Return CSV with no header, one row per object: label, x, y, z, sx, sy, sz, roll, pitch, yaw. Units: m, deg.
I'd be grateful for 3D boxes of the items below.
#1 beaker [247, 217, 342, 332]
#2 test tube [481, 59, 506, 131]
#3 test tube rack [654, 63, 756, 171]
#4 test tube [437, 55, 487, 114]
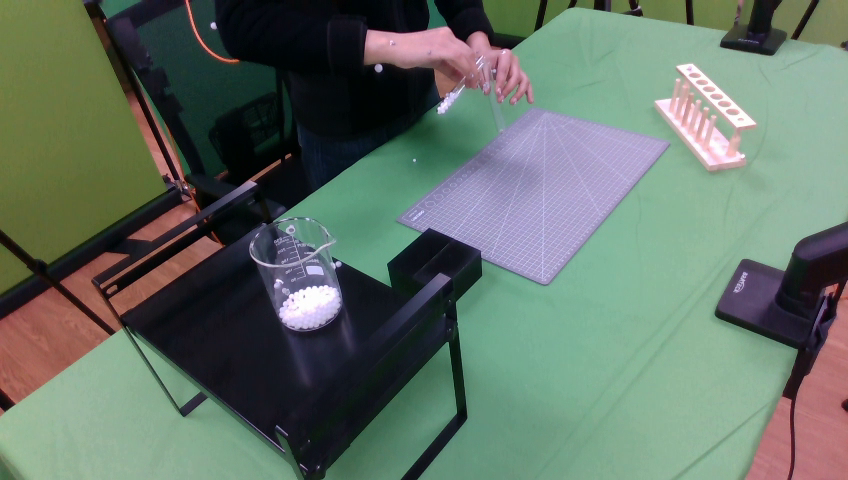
beaker,-0.124,0.037,0.614,0.084,0.101,0.073,-7,41,0
test tube,0.121,-0.247,1.046,0.017,0.151,0.017,-11,48,12
test tube rack,0.510,-0.233,1.120,0.067,0.085,0.241,-8,41,-1
test tube,0.060,-0.245,0.948,0.017,0.017,0.150,18,55,27
